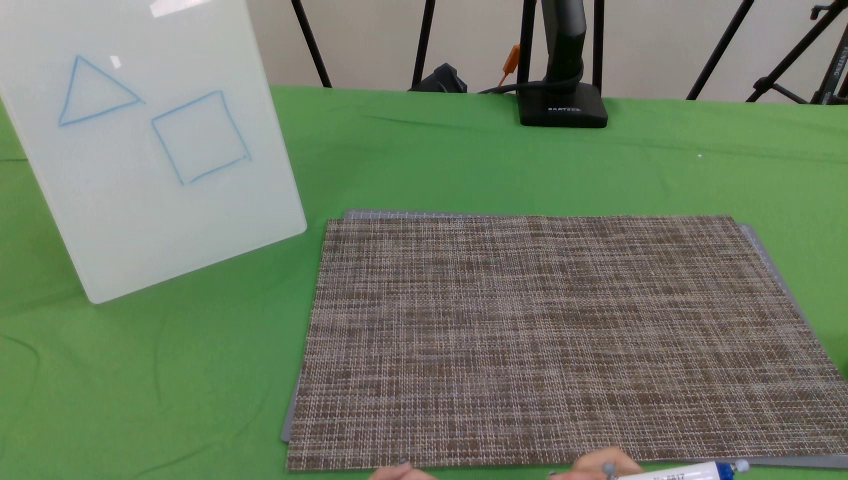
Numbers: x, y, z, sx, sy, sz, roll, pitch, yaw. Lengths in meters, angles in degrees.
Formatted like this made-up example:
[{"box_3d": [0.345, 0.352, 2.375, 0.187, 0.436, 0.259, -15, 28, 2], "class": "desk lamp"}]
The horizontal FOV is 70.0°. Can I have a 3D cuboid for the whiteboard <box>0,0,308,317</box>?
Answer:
[{"box_3d": [-0.275, -0.120, 0.603, 0.217, 0.307, 0.142, -22, 24, -25], "class": "whiteboard"}]

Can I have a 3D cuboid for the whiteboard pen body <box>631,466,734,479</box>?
[{"box_3d": [0.084, 0.135, 0.309, 0.140, 0.017, 0.017, -19, 34, 18], "class": "whiteboard pen body"}]
